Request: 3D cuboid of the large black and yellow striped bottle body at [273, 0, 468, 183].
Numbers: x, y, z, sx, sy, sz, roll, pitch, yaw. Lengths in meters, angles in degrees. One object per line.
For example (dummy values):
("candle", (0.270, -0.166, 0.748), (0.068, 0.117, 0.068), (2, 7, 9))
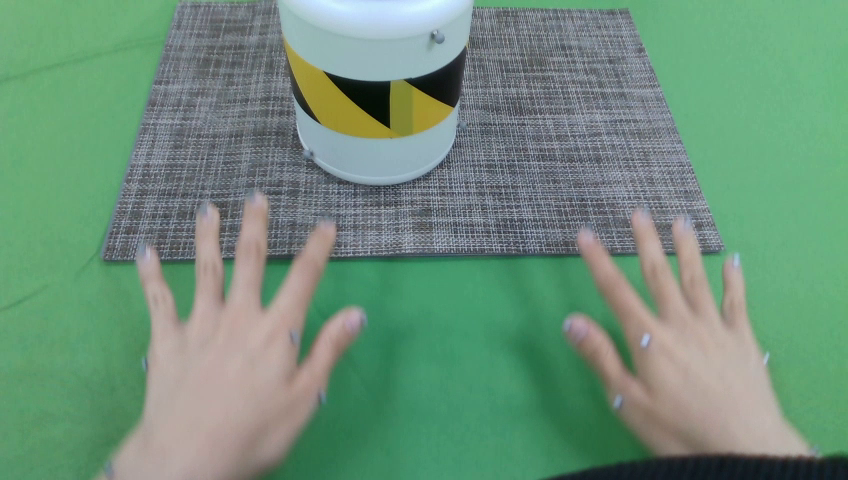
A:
("large black and yellow striped bottle body", (-0.037, -0.145, 0.429), (0.131, 0.185, 0.129), (2, 55, -3))
